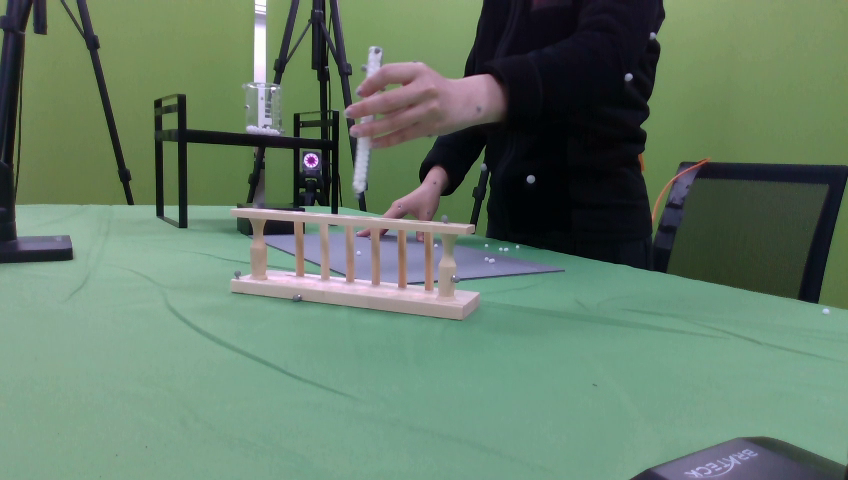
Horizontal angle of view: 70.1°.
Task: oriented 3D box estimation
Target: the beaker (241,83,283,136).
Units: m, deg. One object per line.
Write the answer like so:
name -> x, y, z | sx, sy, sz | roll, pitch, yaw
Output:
beaker -> -0.323, -0.260, 1.208 | 0.084, 0.100, 0.073 | -4, 9, -37

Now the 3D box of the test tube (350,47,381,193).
test tube -> -0.061, -0.123, 0.627 | 0.017, 0.150, 0.017 | 8, 3, 0

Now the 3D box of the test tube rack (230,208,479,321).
test tube rack -> -0.069, 0.017, 0.598 | 0.242, 0.085, 0.067 | 5, 8, 18
